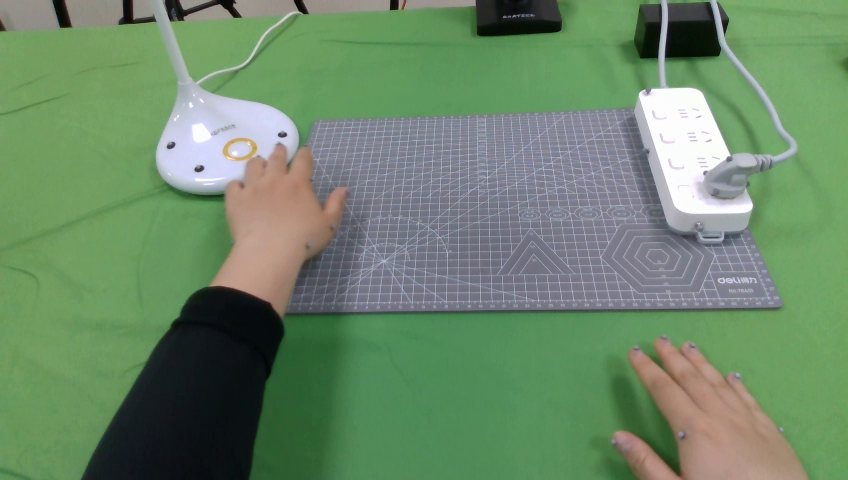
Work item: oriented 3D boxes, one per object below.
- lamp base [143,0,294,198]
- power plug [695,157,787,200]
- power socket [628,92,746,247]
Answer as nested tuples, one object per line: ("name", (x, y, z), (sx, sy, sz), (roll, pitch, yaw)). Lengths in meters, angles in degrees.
("lamp base", (-0.245, -0.162, 0.649), (0.177, 0.182, 0.160), (29, 54, 33))
("power plug", (0.287, -0.048, 0.552), (0.072, 0.053, 0.035), (8, 47, 12))
("power socket", (0.263, -0.084, 0.623), (0.072, 0.033, 0.224), (1, 45, 4))
